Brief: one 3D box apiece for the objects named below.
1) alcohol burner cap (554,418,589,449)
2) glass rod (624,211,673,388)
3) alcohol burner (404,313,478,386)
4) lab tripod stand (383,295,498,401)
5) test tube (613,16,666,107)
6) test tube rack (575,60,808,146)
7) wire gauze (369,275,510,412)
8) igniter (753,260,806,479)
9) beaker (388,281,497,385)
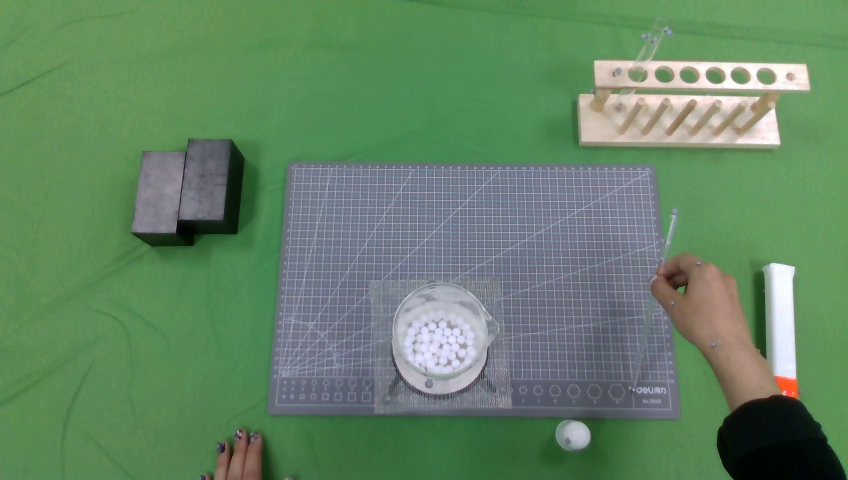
[{"bbox_3d":[0.158,0.204,0.639,0.034,0.048,0.033,0,72,2],"label":"alcohol burner cap"},{"bbox_3d":[0.238,0.067,0.645,0.008,0.008,0.200,10,103,3],"label":"glass rod"},{"bbox_3d":[0.018,0.110,0.626,0.078,0.120,0.077,1,72,-1],"label":"alcohol burner"},{"bbox_3d":[0.013,0.114,0.614,0.148,0.132,0.147,0,73,2],"label":"lab tripod stand"},{"bbox_3d":[0.239,-0.195,0.681,0.017,0.151,0.017,0,70,1],"label":"test tube"},{"bbox_3d":[0.312,-0.161,0.722,0.242,0.085,0.066,1,73,1],"label":"test tube rack"},{"bbox_3d":[0.012,0.092,0.552,0.125,0.011,0.120,-3,71,2],"label":"wire gauze"},{"bbox_3d":[0.385,0.157,0.659,0.057,0.025,0.275,10,74,-8],"label":"igniter"},{"bbox_3d":[0.015,0.082,0.505,0.084,0.101,0.073,-4,73,-1],"label":"beaker"}]
